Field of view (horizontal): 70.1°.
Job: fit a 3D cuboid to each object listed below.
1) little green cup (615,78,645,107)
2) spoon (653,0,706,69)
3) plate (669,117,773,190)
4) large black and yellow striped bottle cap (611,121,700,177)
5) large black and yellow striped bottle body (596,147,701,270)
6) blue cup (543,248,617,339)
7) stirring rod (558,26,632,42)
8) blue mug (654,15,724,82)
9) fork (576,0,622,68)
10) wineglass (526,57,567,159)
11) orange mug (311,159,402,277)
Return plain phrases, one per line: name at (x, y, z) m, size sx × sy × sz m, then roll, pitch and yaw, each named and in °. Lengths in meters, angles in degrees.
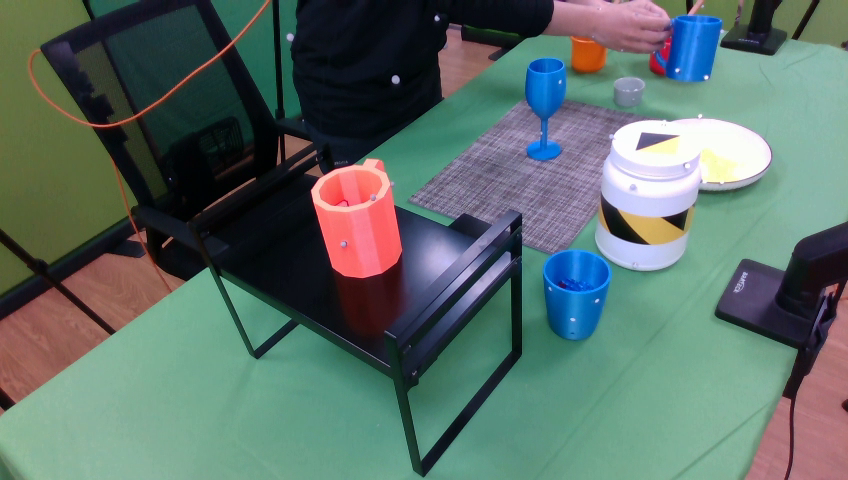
little green cup at (0.426, -0.306, 1.257) m, size 0.061 × 0.039 × 0.061 m, roll -4°, pitch 40°, yaw 4°
spoon at (0.570, -0.461, 1.334) m, size 0.041 × 0.022 × 0.193 m, roll 39°, pitch 102°, yaw 41°
plate at (0.495, -0.148, 1.063) m, size 0.209 × 0.038 × 0.208 m, roll -5°, pitch 40°, yaw 4°
large black and yellow striped bottle cap at (0.315, -0.126, 0.823) m, size 0.115 × 0.019 × 0.114 m, roll -4°, pitch 42°, yaw 4°
large black and yellow striped bottle body at (0.323, -0.062, 0.877) m, size 0.131 × 0.185 × 0.130 m, roll -5°, pitch 40°, yaw 4°
blue cup at (0.199, 0.076, 0.797) m, size 0.092 × 0.100 × 0.092 m, roll -4°, pitch 39°, yaw 4°
stirring rod at (0.381, -0.463, 1.356) m, size 0.175 × 0.006 × 0.014 m, roll 22°, pitch 48°, yaw 30°
blue mug at (0.487, -0.361, 1.131) m, size 0.115 × 0.106 × 0.083 m, roll 23°, pitch 38°, yaw 35°
fork at (0.409, -0.484, 1.381) m, size 0.028 × 0.019 × 0.207 m, roll 37°, pitch 101°, yaw 45°
wineglass at (0.221, -0.237, 1.097) m, size 0.074 × 0.173 × 0.073 m, roll -4°, pitch 41°, yaw 4°
orange mug at (-0.069, -0.034, 0.694) m, size 0.083 × 0.101 × 0.126 m, roll 5°, pitch 46°, yaw 16°
